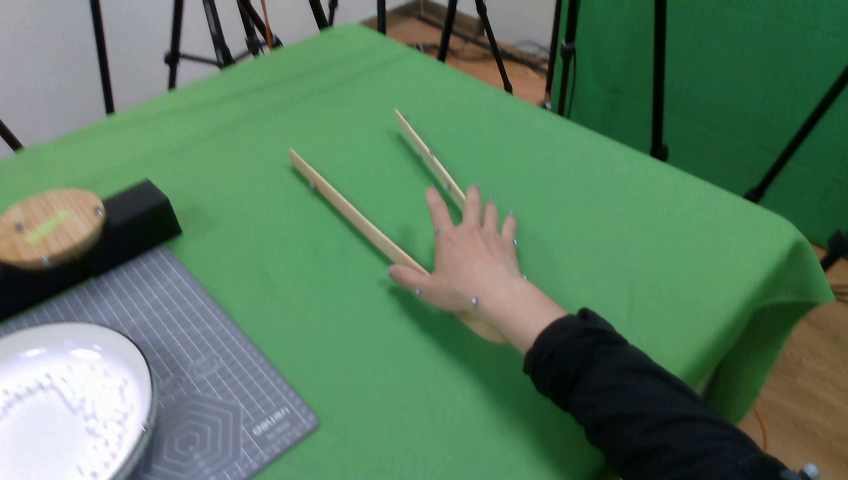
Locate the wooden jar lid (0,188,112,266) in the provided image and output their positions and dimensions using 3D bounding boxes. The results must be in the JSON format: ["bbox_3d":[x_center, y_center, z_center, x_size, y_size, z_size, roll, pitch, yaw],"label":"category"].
[{"bbox_3d":[-0.369,-0.013,0.608,0.108,0.021,0.107,0,43,1],"label":"wooden jar lid"}]

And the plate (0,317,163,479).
[{"bbox_3d":[-0.315,0.151,0.484,0.209,0.038,0.207,-1,43,1],"label":"plate"}]

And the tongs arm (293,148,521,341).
[{"bbox_3d":[-0.042,-0.010,0.659,0.028,0.028,0.383,-28,48,-28],"label":"tongs arm"}]

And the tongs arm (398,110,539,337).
[{"bbox_3d":[0.029,-0.042,0.685,0.051,0.027,0.380,-20,46,-16],"label":"tongs arm"}]
